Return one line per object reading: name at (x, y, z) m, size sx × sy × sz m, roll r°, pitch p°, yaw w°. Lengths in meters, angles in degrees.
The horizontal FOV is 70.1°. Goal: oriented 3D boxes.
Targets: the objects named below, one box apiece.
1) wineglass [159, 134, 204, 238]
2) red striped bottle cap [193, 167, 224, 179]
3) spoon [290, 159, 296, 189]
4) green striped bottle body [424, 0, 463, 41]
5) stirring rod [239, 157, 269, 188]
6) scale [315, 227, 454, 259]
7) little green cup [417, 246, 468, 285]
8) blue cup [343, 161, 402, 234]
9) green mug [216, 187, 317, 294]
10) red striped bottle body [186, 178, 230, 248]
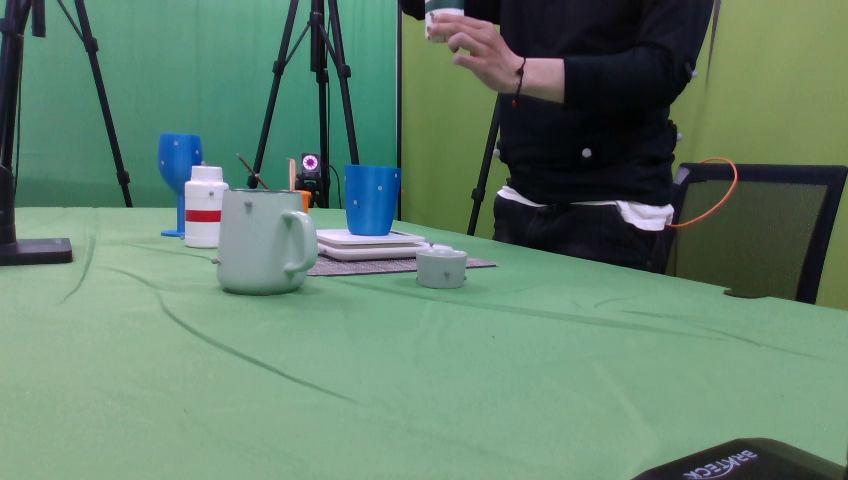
wineglass at (-0.415, -0.093, 1.040) m, size 0.074 × 0.172 × 0.073 m, roll 2°, pitch 7°, yaw 0°
red striped bottle cap at (-0.329, -0.103, 0.921) m, size 0.044 × 0.017 × 0.044 m, roll 0°, pitch 9°, yaw 0°
spoon at (-0.273, -0.102, 1.252) m, size 0.042 × 0.193 × 0.021 m, roll 7°, pitch -39°, yaw -17°
green striped bottle body at (0.030, -0.382, 0.957) m, size 0.063 × 0.119 × 0.063 m, roll -1°, pitch 6°, yaw 0°
stirring rod at (-0.309, -0.098, 1.209) m, size 0.006 × 0.177 × 0.014 m, roll -39°, pitch 29°, yaw -4°
scale at (-0.066, 0.001, 0.906) m, size 0.202 × 0.031 × 0.148 m, roll -2°, pitch 8°, yaw -31°
little green cup at (0.021, 0.029, 0.701) m, size 0.061 × 0.038 × 0.061 m, roll 1°, pitch 6°, yaw 0°
blue cup at (-0.078, -0.062, 0.884) m, size 0.093 × 0.100 × 0.092 m, roll 4°, pitch 6°, yaw 0°
green mug at (-0.157, 0.000, 0.629) m, size 0.124 × 0.105 × 0.093 m, roll 7°, pitch 9°, yaw 37°
red striped bottle body at (-0.331, -0.050, 0.927) m, size 0.063 × 0.119 × 0.063 m, roll 2°, pitch 7°, yaw 0°
